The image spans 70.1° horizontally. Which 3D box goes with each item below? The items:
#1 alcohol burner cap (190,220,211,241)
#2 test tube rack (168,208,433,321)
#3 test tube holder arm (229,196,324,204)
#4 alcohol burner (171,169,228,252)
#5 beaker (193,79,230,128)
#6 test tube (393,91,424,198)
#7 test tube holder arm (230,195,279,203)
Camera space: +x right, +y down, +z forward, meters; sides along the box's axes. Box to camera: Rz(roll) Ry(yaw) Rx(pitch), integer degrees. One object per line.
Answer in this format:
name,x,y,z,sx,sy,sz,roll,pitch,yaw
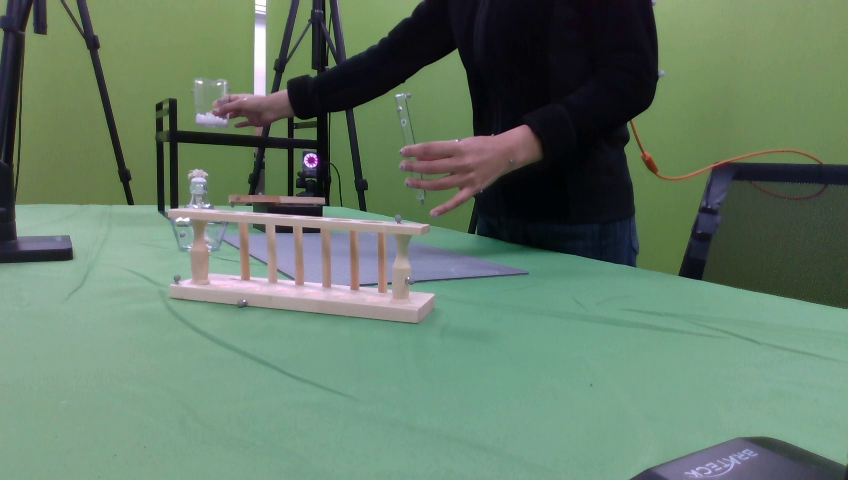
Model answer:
alcohol burner cap,-0.365,-0.023,0.988,0.034,0.048,0.034,1,7,0
test tube rack,-0.115,0.017,0.574,0.242,0.085,0.067,4,8,13
test tube holder arm,-0.275,-0.076,1.142,0.179,0.015,0.013,-2,-2,-31
alcohol burner,-0.325,-0.043,0.875,0.078,0.119,0.078,0,6,0
beaker,-0.459,-0.295,1.316,0.074,0.100,0.083,-4,9,-28
test tube,-0.021,-0.132,0.848,0.017,0.150,0.017,-11,13,3
test tube holder arm,-0.311,-0.075,1.114,0.088,0.015,0.010,-2,-2,-30
